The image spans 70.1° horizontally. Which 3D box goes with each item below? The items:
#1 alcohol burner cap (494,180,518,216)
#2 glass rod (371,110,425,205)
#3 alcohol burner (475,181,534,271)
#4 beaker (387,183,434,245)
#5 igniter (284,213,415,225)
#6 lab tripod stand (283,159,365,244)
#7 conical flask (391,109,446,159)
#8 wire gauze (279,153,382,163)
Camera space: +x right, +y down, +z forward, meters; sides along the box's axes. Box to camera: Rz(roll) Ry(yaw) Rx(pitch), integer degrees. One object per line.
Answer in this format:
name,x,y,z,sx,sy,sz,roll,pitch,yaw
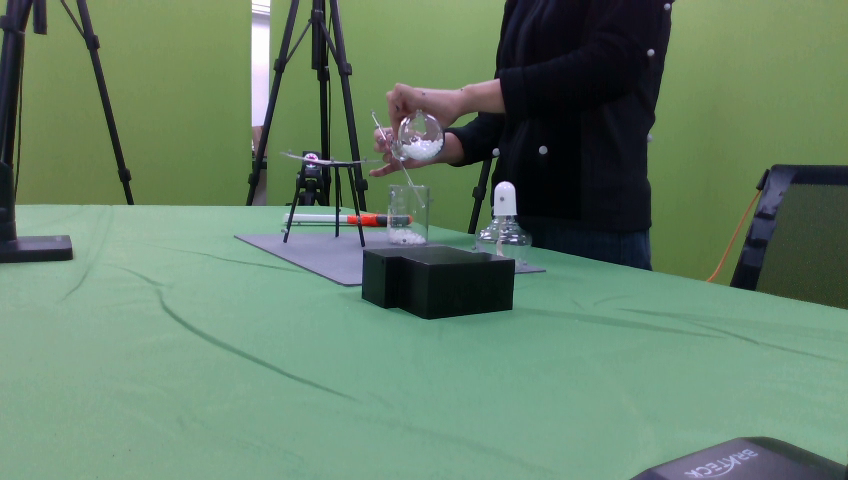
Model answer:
alcohol burner cap,0.108,-0.055,0.800,0.034,0.048,0.034,-2,4,0
glass rod,-0.045,-0.141,1.016,0.008,0.199,0.008,-25,-19,-9
alcohol burner,0.108,-0.020,0.804,0.078,0.119,0.078,3,5,0
beaker,-0.027,-0.044,1.012,0.074,0.100,0.083,-2,8,-34
igniter,-0.154,-0.045,1.282,0.278,0.025,0.057,0,-2,-20
lab tripod stand,-0.151,-0.063,0.983,0.148,0.131,0.148,4,7,0
conical flask,-0.019,-0.157,0.958,0.075,0.075,0.121,0,-3,-18
wire gauze,-0.149,-0.129,0.974,0.124,0.011,0.122,10,9,41
